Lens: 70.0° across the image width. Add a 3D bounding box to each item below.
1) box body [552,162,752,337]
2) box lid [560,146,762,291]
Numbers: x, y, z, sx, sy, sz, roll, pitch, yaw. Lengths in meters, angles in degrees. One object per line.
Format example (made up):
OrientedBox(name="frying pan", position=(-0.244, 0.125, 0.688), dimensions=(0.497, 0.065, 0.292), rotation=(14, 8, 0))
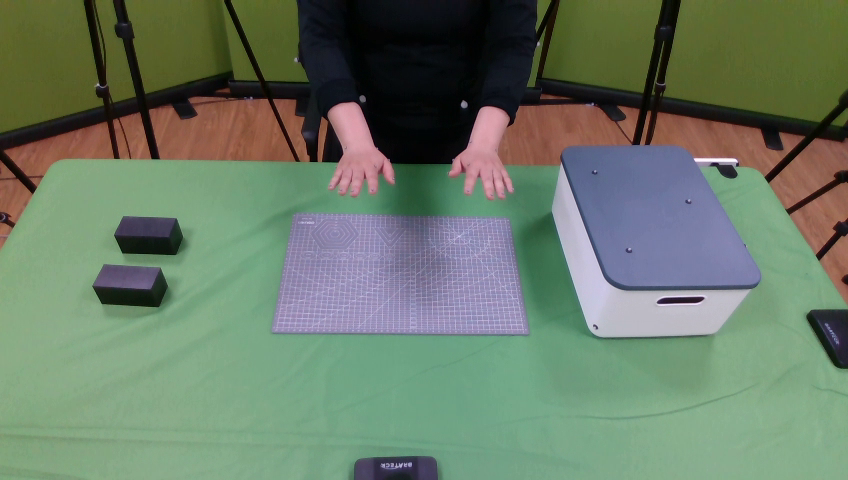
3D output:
OrientedBox(name="box body", position=(0.401, -0.001, 1.131), dimensions=(0.254, 0.161, 0.361), rotation=(-1, 46, -5))
OrientedBox(name="box lid", position=(0.404, -0.052, 1.076), dimensions=(0.263, 0.015, 0.369), rotation=(-1, 45, -5))
